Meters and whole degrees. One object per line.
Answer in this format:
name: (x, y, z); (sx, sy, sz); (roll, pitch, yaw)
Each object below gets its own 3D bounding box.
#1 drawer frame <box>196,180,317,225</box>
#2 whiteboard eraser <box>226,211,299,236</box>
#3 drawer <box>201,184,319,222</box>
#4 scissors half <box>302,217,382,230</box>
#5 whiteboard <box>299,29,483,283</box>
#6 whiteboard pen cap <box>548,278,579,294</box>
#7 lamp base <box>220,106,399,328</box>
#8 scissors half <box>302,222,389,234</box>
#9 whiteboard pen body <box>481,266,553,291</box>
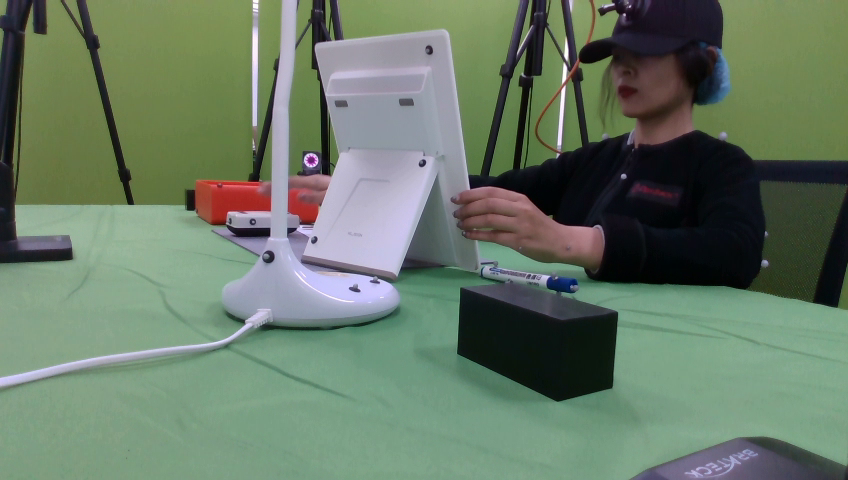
drawer frame: (-0.359, -0.083, 1.292); (0.215, 0.082, 0.200); (-2, 10, -30)
whiteboard eraser: (-0.276, -0.028, 1.035); (0.113, 0.042, 0.055); (-2, 6, -35)
drawer: (-0.353, -0.082, 1.296); (0.213, 0.073, 0.193); (-2, 10, -28)
scissors half: (-0.161, -0.030, 1.198); (0.176, 0.013, 0.040); (-9, 23, -39)
whiteboard: (-0.074, -0.082, 0.742); (0.216, 0.305, 0.144); (9, 29, 38)
whiteboard pen cap: (0.148, 0.049, 0.646); (0.018, 0.018, 0.033); (-3, 3, -36)
lamp base: (-0.102, -0.023, 0.531); (0.160, 0.180, 0.179); (4, 10, 10)
scissors half: (-0.151, -0.023, 1.181); (0.176, 0.013, 0.040); (0, 24, -21)
whiteboard pen body: (0.115, 0.045, 0.695); (0.017, 0.017, 0.140); (-3, 6, -35)
